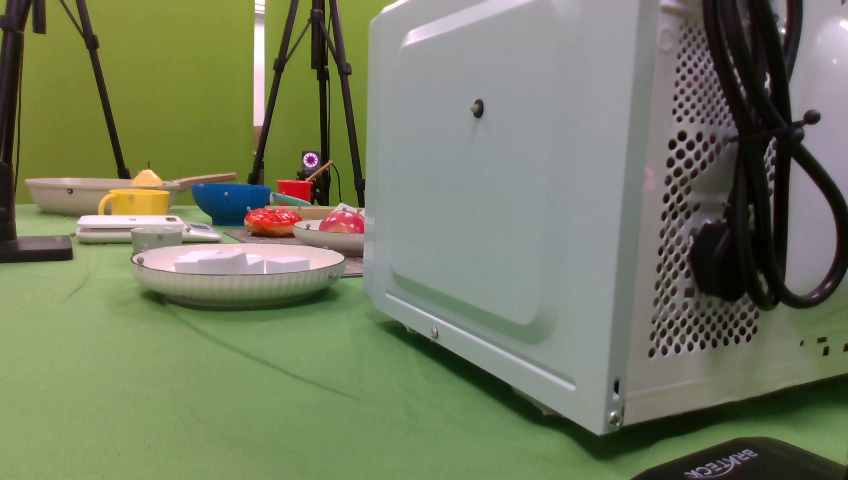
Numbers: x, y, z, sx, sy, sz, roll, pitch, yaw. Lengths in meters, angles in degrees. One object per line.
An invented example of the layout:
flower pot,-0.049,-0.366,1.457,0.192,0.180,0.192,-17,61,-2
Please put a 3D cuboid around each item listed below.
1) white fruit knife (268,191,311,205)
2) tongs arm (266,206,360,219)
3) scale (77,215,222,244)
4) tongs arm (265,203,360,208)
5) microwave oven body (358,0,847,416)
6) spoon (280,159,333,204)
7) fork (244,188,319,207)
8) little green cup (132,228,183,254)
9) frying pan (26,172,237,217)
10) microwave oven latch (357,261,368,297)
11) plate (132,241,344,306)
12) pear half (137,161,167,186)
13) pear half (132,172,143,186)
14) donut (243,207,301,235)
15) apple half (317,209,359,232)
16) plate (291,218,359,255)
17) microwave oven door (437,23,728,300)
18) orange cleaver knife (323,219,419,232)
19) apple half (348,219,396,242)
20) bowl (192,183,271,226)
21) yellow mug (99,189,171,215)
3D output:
white fruit knife,-0.364,-0.105,1.464,0.208,0.027,0.016,15,0,-34
tongs arm,-0.173,-0.061,1.362,0.387,0.026,0.050,-1,5,-30
scale,-0.434,-0.019,0.963,0.202,0.031,0.148,-1,9,-27
tongs arm,-0.208,-0.070,1.437,0.389,0.027,0.028,1,0,-17
microwave oven body,0.211,-0.047,0.474,0.444,0.260,0.324,-1,7,-28
spoon,-0.316,-0.159,1.640,0.194,0.022,0.041,-50,32,-20
fork,-0.356,-0.105,1.526,0.208,0.018,0.028,16,-5,-41
little green cup,-0.342,0.006,0.779,0.061,0.038,0.061,2,8,0
frying pan,-0.624,-0.118,1.387,0.305,0.102,0.490,8,17,32
microwave oven latch,-0.019,0.033,0.531,0.079,0.029,0.030,-1,7,-27
plate,-0.187,0.033,0.625,0.208,0.039,0.207,2,8,0
pear half,-0.602,-0.120,1.354,0.056,0.110,0.076,4,11,6
pear half,-0.638,-0.113,1.361,0.031,0.088,0.070,5,10,4
donut,-0.261,-0.032,1.043,0.099,0.048,0.099,4,9,0
apple half,-0.122,-0.020,0.900,0.080,0.053,0.075,3,10,14
plate,-0.098,-0.007,0.928,0.209,0.038,0.209,2,8,0
microwave oven door,0.180,-0.072,0.621,0.358,0.243,0.039,-2,8,-29
orange cleaver knife,-0.097,-0.027,1.152,0.077,0.012,0.212,2,7,41
apple half,-0.083,-0.018,0.967,0.081,0.033,0.081,5,10,0
bowl,-0.382,-0.071,1.202,0.151,0.077,0.151,3,7,0
yellow mug,-0.519,-0.055,1.080,0.099,0.064,0.131,7,9,26
